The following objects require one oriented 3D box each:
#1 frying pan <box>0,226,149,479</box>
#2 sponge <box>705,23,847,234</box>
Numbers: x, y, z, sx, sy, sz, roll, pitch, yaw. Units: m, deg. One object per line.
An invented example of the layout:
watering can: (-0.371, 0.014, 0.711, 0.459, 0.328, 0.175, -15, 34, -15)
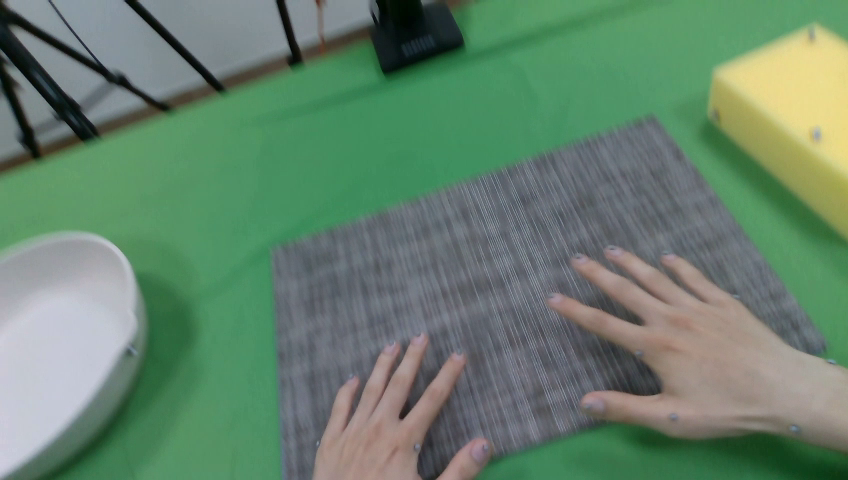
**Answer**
frying pan: (-0.422, 0.188, 0.552, 0.306, 0.104, 0.483, -8, 42, 13)
sponge: (0.379, -0.109, 0.562, 0.118, 0.061, 0.204, -24, 49, -3)
